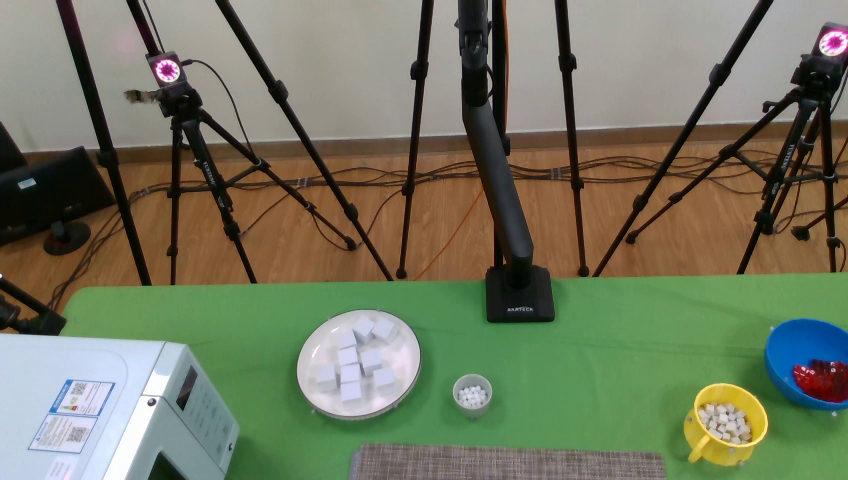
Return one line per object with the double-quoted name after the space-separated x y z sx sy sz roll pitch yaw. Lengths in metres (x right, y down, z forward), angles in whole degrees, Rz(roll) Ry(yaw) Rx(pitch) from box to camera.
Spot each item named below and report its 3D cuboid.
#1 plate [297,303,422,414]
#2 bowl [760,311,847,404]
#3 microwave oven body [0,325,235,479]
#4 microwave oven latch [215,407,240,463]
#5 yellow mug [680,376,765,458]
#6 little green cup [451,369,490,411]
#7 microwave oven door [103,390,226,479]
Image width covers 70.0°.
-0.106 0.199 1.014 0.207 0.039 0.205 -3 48 3 "plate"
0.586 0.192 0.925 0.151 0.077 0.150 -3 48 4 "bowl"
-0.478 0.357 0.749 0.326 0.263 0.437 2 49 7 "microwave oven body"
-0.305 0.295 0.920 0.030 0.030 0.078 3 49 8 "microwave oven latch"
0.423 0.267 0.881 0.131 0.064 0.099 -34 54 -21 "yellow mug"
0.075 0.240 0.959 0.061 0.039 0.061 -3 48 4 "little green cup"
-0.337 0.388 0.700 0.039 0.246 0.352 1 48 7 "microwave oven door"
